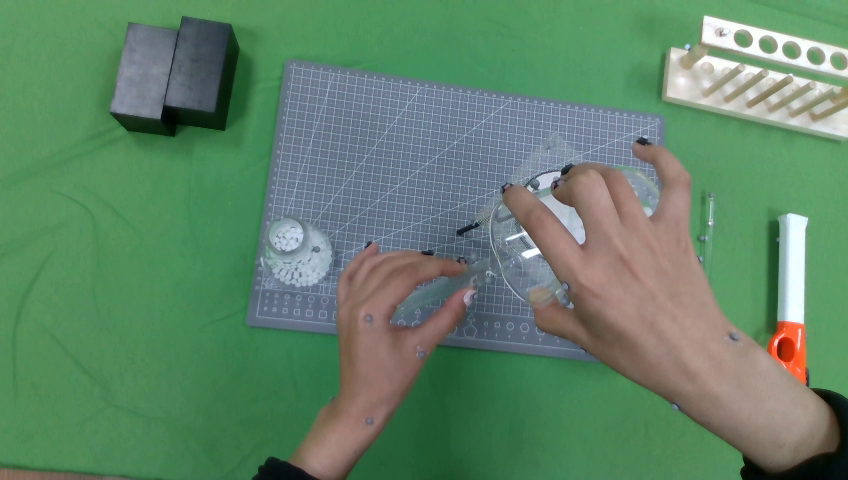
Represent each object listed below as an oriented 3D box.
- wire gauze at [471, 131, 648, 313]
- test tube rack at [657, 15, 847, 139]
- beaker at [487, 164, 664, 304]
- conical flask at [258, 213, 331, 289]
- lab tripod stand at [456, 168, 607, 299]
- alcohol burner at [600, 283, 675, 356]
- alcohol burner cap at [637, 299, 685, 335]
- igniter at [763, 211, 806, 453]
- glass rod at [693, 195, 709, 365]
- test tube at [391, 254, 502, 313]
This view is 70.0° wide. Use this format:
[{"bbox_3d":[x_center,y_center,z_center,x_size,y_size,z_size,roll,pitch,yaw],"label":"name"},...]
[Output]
[{"bbox_3d":[0.124,-0.020,0.553,0.125,0.011,0.121,44,79,2],"label":"wire gauze"},{"bbox_3d":[0.413,-0.189,0.716,0.243,0.085,0.066,11,79,-5],"label":"test tube rack"},{"bbox_3d":[0.103,-0.006,0.412,0.100,0.084,0.073,-18,82,-23],"label":"beaker"},{"bbox_3d":[-0.130,0.006,0.589,0.075,0.122,0.075,1,80,-7],"label":"conical flask"},{"bbox_3d":[0.114,-0.011,0.619,0.148,0.131,0.148,1,81,-6],"label":"lab tripod stand"},{"bbox_3d":[0.230,0.081,0.628,0.078,0.119,0.077,1,79,-4],"label":"alcohol burner"},{"bbox_3d":[0.235,0.073,0.594,0.034,0.048,0.033,3,73,-11],"label":"alcohol burner cap"},{"bbox_3d":[0.415,0.103,0.696,0.057,0.025,0.275,11,79,-16],"label":"igniter"},{"bbox_3d":[0.322,0.044,0.704,0.008,0.008,0.199,8,82,-6],"label":"glass rod"},{"bbox_3d":[0.013,0.038,0.489,0.017,0.150,0.017,11,67,-29],"label":"test tube"}]
